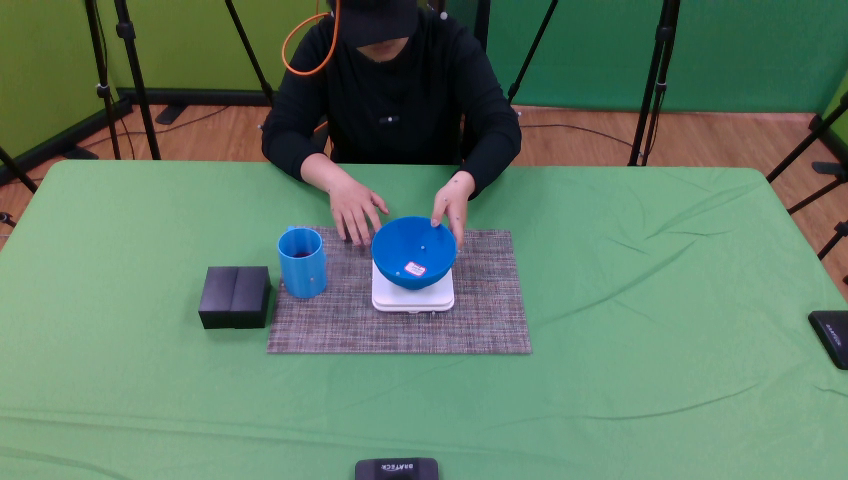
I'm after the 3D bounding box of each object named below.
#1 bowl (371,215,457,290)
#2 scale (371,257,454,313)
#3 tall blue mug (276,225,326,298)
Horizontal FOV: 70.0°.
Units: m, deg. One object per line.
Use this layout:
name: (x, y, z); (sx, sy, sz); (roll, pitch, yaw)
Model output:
bowl: (-0.018, 0.035, 1.075); (0.151, 0.077, 0.150); (1, 47, -1)
scale: (-0.023, 0.051, 1.134); (0.149, 0.032, 0.199); (1, 46, -4)
tall blue mug: (-0.228, 0.033, 1.083); (0.107, 0.108, 0.077); (30, 52, 23)
